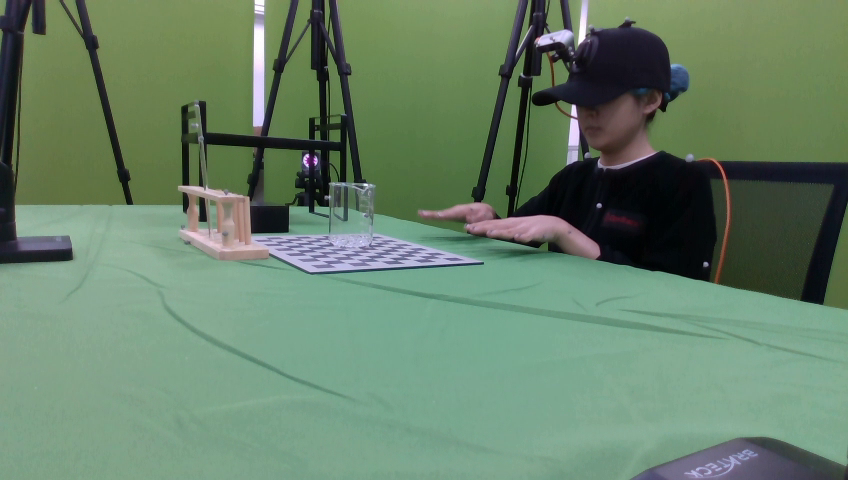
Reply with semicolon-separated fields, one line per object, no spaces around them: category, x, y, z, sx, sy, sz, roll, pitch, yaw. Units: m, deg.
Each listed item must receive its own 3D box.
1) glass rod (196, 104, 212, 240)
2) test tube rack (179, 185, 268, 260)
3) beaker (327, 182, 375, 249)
glass rod;-0.317;-0.095;0.871;0.008;0.199;0.008;-4;4;1
test tube rack;-0.303;-0.031;0.898;0.067;0.085;0.241;-2;9;-33
beaker;-0.114;-0.039;0.950;0.074;0.100;0.083;-2;9;-31
